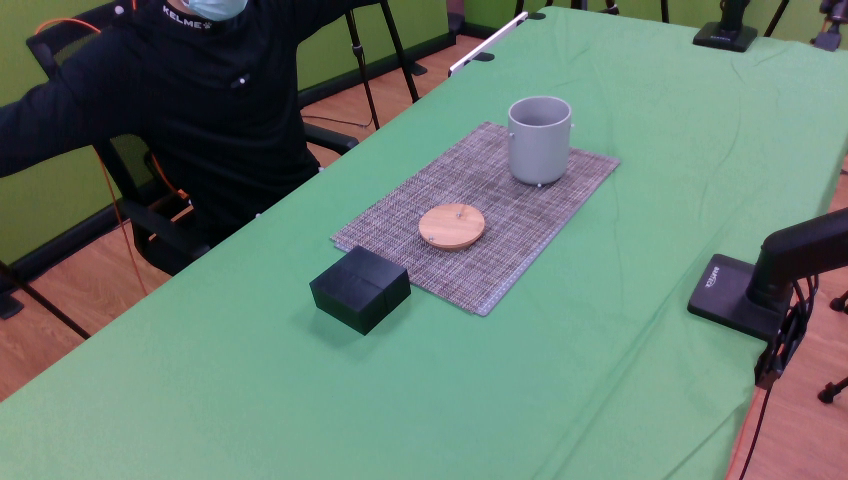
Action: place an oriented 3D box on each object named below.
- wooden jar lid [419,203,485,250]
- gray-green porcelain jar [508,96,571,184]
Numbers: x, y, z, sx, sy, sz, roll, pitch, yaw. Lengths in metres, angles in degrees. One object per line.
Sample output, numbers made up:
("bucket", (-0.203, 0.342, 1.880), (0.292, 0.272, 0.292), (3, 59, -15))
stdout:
("wooden jar lid", (0.046, -0.021, 0.983), (0.108, 0.021, 0.108), (-5, 41, 5))
("gray-green porcelain jar", (0.199, -0.169, 1.051), (0.106, 0.127, 0.105), (-4, 41, 4))
